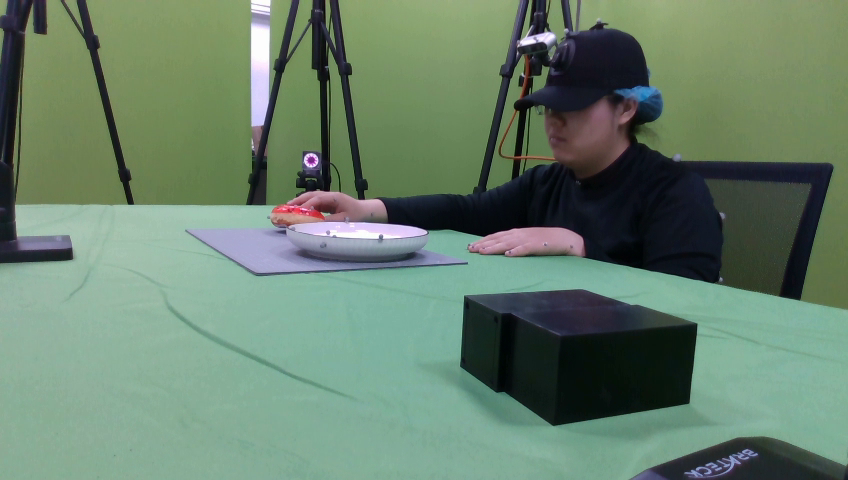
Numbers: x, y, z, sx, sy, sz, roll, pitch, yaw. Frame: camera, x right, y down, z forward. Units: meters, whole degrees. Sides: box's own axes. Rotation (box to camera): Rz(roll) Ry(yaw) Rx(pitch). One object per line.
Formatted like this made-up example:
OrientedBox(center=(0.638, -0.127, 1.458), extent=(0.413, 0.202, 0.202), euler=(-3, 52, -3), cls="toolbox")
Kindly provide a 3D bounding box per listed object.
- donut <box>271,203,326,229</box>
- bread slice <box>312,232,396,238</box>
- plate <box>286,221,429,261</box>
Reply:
OrientedBox(center=(-0.228, -0.040, 1.100), extent=(0.099, 0.048, 0.099), euler=(7, 0, 0), cls="donut")
OrientedBox(center=(-0.101, 0.002, 0.885), extent=(0.135, 0.018, 0.106), euler=(-3, 7, -38), cls="bread slice")
OrientedBox(center=(-0.096, 0.001, 0.886), extent=(0.209, 0.038, 0.209), euler=(2, 7, 0), cls="plate")
